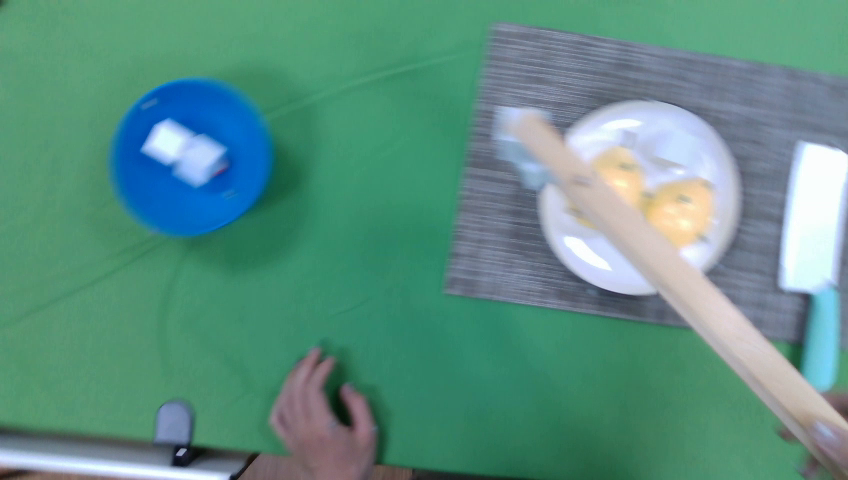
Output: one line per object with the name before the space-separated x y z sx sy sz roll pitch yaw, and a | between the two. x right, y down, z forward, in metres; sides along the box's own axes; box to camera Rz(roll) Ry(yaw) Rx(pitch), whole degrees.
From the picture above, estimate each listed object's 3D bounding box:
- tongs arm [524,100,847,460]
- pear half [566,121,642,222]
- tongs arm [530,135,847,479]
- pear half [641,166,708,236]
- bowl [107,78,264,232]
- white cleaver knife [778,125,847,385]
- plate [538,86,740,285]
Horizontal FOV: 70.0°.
tongs arm | 0.210 0.043 0.437 0.028 0.028 0.386 -41 81 1
pear half | 0.194 -0.076 0.629 0.076 0.056 0.109 17 87 -4
tongs arm | 0.219 0.047 0.475 0.026 0.051 0.383 -42 80 5
pear half | 0.269 -0.042 0.638 0.070 0.031 0.088 39 96 -4
bowl | -0.232 -0.082 0.625 0.151 0.077 0.151 0 91 0
white cleaver knife | 0.419 0.019 0.658 0.066 0.021 0.286 4 87 9
plate | 0.223 -0.056 0.643 0.208 0.039 0.207 0 91 0
